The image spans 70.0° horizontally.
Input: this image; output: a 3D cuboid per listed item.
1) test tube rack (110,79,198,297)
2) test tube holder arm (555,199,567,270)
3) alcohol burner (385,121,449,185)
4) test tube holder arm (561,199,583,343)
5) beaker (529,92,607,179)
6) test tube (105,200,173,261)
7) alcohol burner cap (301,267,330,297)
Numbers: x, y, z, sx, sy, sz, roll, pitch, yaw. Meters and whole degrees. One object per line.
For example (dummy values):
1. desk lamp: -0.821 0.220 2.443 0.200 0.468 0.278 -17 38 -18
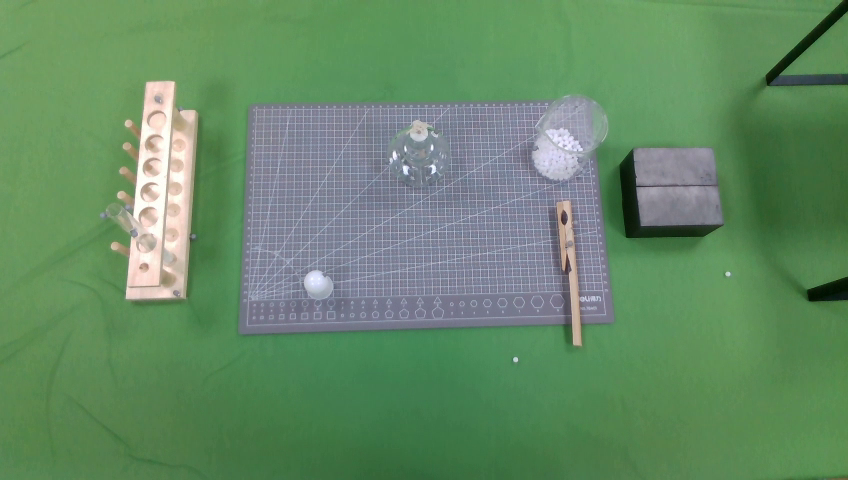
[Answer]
1. test tube rack: -0.321 -0.060 0.713 0.067 0.085 0.241 -1 76 -2
2. test tube holder arm: 0.172 -0.007 0.751 0.010 0.015 0.087 -9 76 28
3. alcohol burner: -0.009 -0.111 0.721 0.078 0.119 0.077 0 76 0
4. test tube holder arm: 0.180 0.036 0.738 0.013 0.015 0.177 -11 75 28
5. beaker: 0.168 -0.122 0.738 0.084 0.101 0.073 -3 75 -1
6. test tube: -0.301 -0.006 0.650 0.017 0.151 0.017 1 70 -2
7. alcohol burner cap: -0.129 0.048 0.712 0.034 0.048 0.033 1 74 -3
